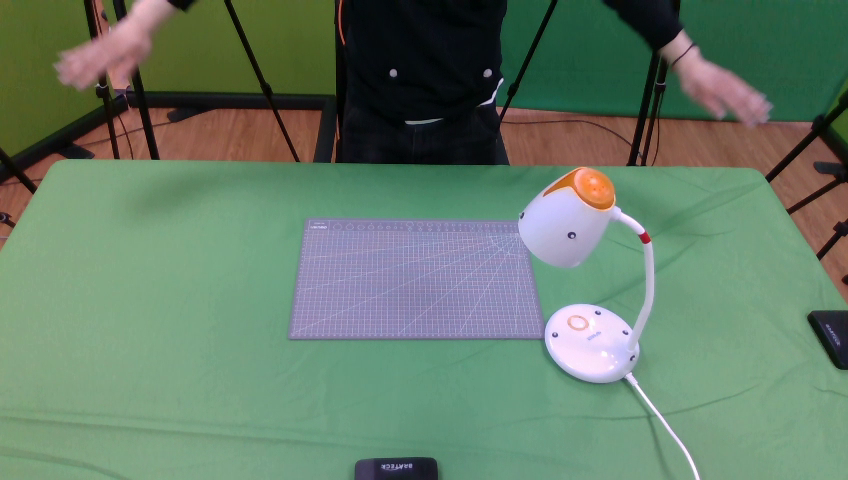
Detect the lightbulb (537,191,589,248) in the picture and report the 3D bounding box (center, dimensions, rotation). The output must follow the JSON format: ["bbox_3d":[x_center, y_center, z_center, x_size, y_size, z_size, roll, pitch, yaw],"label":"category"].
[{"bbox_3d":[0.193,-0.031,0.826,0.059,0.108,0.059,7,59,-11],"label":"lightbulb"}]

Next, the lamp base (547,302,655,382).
[{"bbox_3d":[0.303,0.127,0.982,0.160,0.181,0.178,-33,59,-29],"label":"lamp base"}]

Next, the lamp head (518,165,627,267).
[{"bbox_3d":[0.202,-0.037,0.803,0.113,0.123,0.112,12,55,-18],"label":"lamp head"}]
